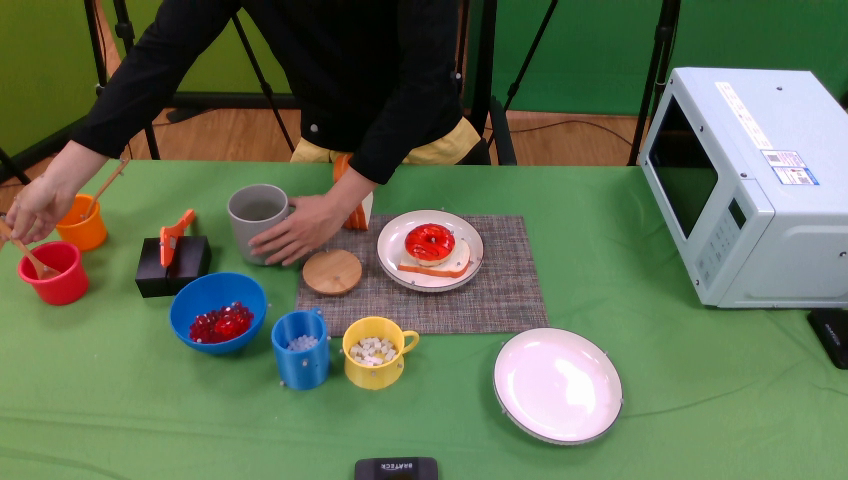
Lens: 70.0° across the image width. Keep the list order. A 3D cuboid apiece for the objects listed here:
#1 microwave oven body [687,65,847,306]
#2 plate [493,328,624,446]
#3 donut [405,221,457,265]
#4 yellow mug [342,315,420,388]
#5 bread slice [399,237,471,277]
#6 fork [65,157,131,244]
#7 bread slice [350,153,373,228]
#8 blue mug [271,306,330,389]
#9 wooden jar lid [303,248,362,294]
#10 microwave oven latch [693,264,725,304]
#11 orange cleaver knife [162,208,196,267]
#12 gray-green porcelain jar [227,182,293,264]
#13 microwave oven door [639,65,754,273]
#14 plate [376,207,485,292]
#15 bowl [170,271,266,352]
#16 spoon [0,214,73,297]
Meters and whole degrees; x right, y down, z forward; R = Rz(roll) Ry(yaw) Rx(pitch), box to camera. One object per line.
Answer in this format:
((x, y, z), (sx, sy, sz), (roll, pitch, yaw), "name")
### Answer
((0.669, -0.111, 1.176), (0.326, 0.261, 0.439), (0, 46, -3), "microwave oven body")
((0.213, 0.236, 0.974), (0.208, 0.039, 0.206), (2, 46, -2), "plate")
((0.013, 0.004, 1.136), (0.099, 0.048, 0.098), (0, 46, 0), "donut")
((-0.068, 0.177, 0.990), (0.131, 0.064, 0.099), (-15, 50, -19), "yellow mug")
((0.025, 0.025, 1.161), (0.131, 0.019, 0.104), (7, 47, 8), "bread slice")
((-0.609, -0.074, 1.133), (0.207, 0.019, 0.028), (-52, 50, 10), "fork")
((-0.125, -0.104, 1.207), (0.018, 0.135, 0.106), (0, 48, 6), "bread slice")
((-0.188, 0.163, 0.969), (0.082, 0.106, 0.116), (15, 47, 10), "blue mug")
((-0.169, 0.059, 1.122), (0.108, 0.021, 0.107), (2, 46, -2), "wooden jar lid")
((0.522, 0.081, 1.115), (0.030, 0.029, 0.078), (2, 46, -1), "microwave oven latch")
((-0.454, -0.010, 1.129), (0.012, 0.077, 0.210), (-2, 17, -5), "orange cleaver knife")
((-0.300, -0.027, 1.126), (0.106, 0.127, 0.105), (2, 47, -2), "gray-green porcelain jar")
((0.522, -0.147, 1.192), (0.039, 0.245, 0.353), (0, 47, -3), "microwave oven door")
((0.012, 0.020, 1.159), (0.209, 0.038, 0.208), (2, 47, -2), "plate")
((-0.333, 0.132, 1.006), (0.151, 0.077, 0.150), (2, 46, -2), "bowl")
((-0.672, 0.017, 1.027), (0.041, 0.194, 0.021), (-41, 21, -25), "spoon")
